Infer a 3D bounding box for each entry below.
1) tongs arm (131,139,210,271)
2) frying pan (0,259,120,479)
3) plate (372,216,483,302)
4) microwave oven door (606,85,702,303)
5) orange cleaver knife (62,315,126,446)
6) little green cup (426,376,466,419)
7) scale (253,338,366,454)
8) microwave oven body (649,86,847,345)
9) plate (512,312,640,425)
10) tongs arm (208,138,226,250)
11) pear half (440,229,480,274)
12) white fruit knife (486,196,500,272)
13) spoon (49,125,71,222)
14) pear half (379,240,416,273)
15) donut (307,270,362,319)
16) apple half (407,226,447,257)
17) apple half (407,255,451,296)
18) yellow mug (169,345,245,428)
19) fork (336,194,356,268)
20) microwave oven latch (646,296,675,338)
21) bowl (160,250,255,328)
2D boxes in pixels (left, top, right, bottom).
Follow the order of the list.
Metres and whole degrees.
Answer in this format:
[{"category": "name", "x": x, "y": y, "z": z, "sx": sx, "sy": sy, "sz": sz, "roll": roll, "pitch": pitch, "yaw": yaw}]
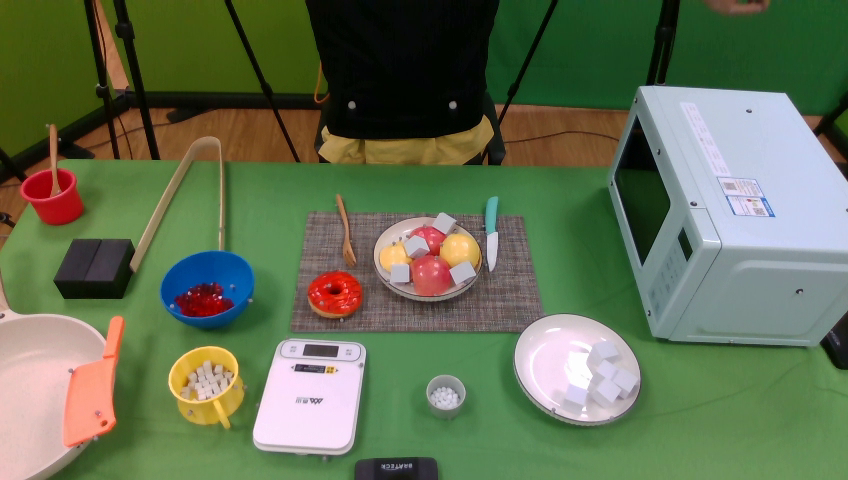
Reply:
[{"category": "tongs arm", "x": -0.514, "y": -0.085, "z": 1.238, "sx": 0.028, "sy": 0.028, "sz": 0.385, "roll": 0, "pitch": 45, "yaw": 6}, {"category": "frying pan", "x": -0.647, "y": 0.164, "z": 0.936, "sx": 0.307, "sy": 0.103, "sz": 0.485, "roll": -19, "pitch": 58, "yaw": -22}, {"category": "plate", "x": 0.006, "y": 0.038, "z": 1.145, "sx": 0.209, "sy": 0.038, "sz": 0.208, "roll": 2, "pitch": 46, "yaw": -2}, {"category": "microwave oven door", "x": 0.422, "y": -0.094, "z": 1.140, "sx": 0.039, "sy": 0.245, "sz": 0.353, "roll": 2, "pitch": 46, "yaw": -1}, {"category": "orange cleaver knife", "x": -0.480, "y": 0.199, "z": 0.887, "sx": 0.077, "sy": 0.012, "sz": 0.210, "roll": -9, "pitch": 47, "yaw": -8}, {"category": "little green cup", "x": 0.033, "y": 0.248, "z": 0.950, "sx": 0.061, "sy": 0.039, "sz": 0.061, "roll": 2, "pitch": 46, "yaw": -2}, {"category": "scale", "x": -0.175, "y": 0.236, "z": 0.951, "sx": 0.149, "sy": 0.032, "sz": 0.199, "roll": 5, "pitch": 45, "yaw": -1}, {"category": "microwave oven body", "x": 0.567, "y": -0.053, "z": 1.118, "sx": 0.326, "sy": 0.261, "sz": 0.439, "roll": 2, "pitch": 45, "yaw": -1}, {"category": "plate", "x": 0.246, "y": 0.213, "z": 0.999, "sx": 0.208, "sy": 0.039, "sz": 0.206, "roll": 2, "pitch": 46, "yaw": -2}, {"category": "tongs arm", "x": -0.431, "y": -0.089, "z": 1.245, "sx": 0.051, "sy": 0.026, "sz": 0.382, "roll": -8, "pitch": 46, "yaw": -7}, {"category": "pear half", "x": 0.065, "y": 0.007, "z": 1.150, "sx": 0.076, "sy": 0.056, "sz": 0.109, "roll": -10, "pitch": 43, "yaw": -2}, {"category": "white fruit knife", "x": 0.138, "y": -0.015, "z": 1.221, "sx": 0.027, "sy": 0.016, "sz": 0.206, "roll": -2, "pitch": 46, "yaw": 11}, {"category": "spoon", "x": -0.719, "y": -0.131, "z": 1.189, "sx": 0.041, "sy": 0.021, "sz": 0.193, "roll": -4, "pitch": 91, "yaw": -5}, {"category": "pear half", "x": -0.048, "y": 0.024, "z": 1.147, "sx": 0.070, "sy": 0.031, "sz": 0.087, "roll": 12, "pitch": 47, "yaw": -11}, {"category": "donut", "x": -0.158, "y": 0.097, "z": 1.073, "sx": 0.099, "sy": 0.048, "sz": 0.098, "roll": 4, "pitch": 45, "yaw": -4}, {"category": "apple half", "x": 0.009, "y": -0.006, "z": 1.176, "sx": 0.081, "sy": 0.033, "sz": 0.081, "roll": 2, "pitch": 51, "yaw": -2}, {"category": "apple half", "x": 0.011, "y": 0.058, "z": 1.103, "sx": 0.075, "sy": 0.053, "sz": 0.080, "roll": -6, "pitch": 43, "yaw": -13}, {"category": "yellow mug", "x": -0.322, "y": 0.230, "z": 0.922, "sx": 0.100, "sy": 0.064, "sz": 0.130, "roll": -24, "pitch": 53, "yaw": -25}, {"category": "fork", "x": -0.158, "y": -0.025, "z": 1.207, "sx": 0.019, "sy": 0.028, "sz": 0.206, "roll": 15, "pitch": 38, "yaw": -27}, {"category": "microwave oven latch", "x": 0.412, "y": 0.134, "z": 1.061, "sx": 0.030, "sy": 0.029, "sz": 0.078, "roll": 4, "pitch": 45, "yaw": 1}, {"category": "bowl", "x": -0.362, "y": 0.098, "z": 1.040, "sx": 0.151, "sy": 0.077, "sz": 0.150, "roll": 2, "pitch": 45, "yaw": -2}]
